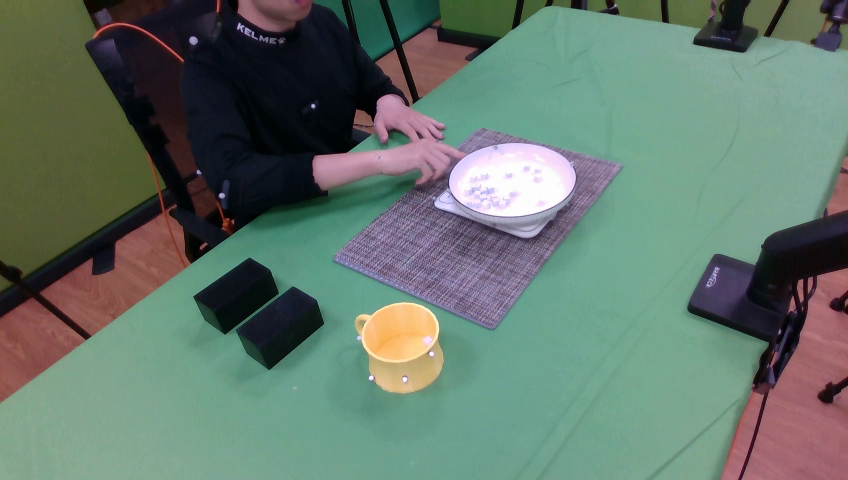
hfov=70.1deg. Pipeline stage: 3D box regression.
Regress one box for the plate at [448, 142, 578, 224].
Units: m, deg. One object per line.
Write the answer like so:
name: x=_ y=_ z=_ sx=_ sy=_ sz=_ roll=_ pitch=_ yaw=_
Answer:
plate: x=0.145 y=-0.089 z=0.989 sx=0.209 sy=0.038 sz=0.208 roll=-4 pitch=41 yaw=4

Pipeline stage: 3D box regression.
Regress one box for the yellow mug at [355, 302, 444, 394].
yellow mug: x=-0.040 y=0.133 z=0.786 sx=0.130 sy=0.064 sz=0.100 roll=20 pitch=47 yaw=29

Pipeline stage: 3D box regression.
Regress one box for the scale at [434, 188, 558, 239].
scale: x=0.132 y=-0.075 z=1.025 sx=0.199 sy=0.032 sz=0.149 roll=22 pitch=48 yaw=30
